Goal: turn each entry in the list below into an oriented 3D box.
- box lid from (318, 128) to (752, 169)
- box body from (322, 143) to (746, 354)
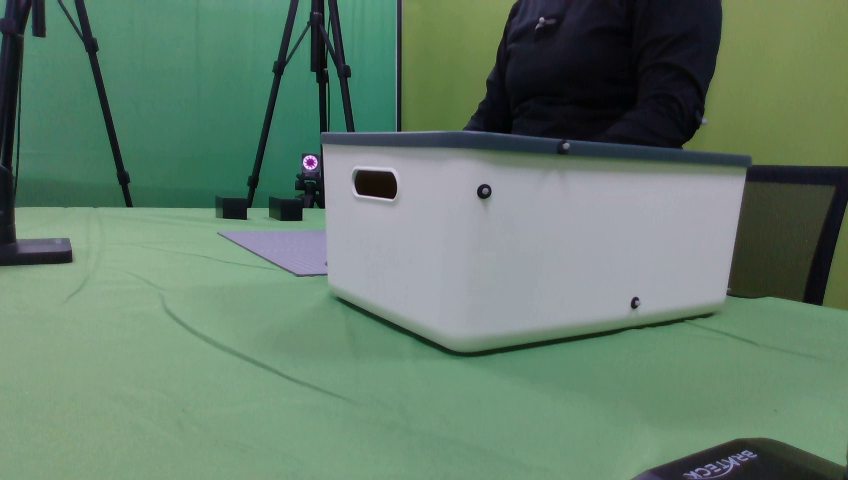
[{"bbox_3d":[0.107,-0.085,0.593,0.373,0.015,0.262,-1,8,-34],"label":"box lid"},{"bbox_3d":[0.106,-0.011,0.603,0.366,0.160,0.253,-2,8,-34],"label":"box body"}]
